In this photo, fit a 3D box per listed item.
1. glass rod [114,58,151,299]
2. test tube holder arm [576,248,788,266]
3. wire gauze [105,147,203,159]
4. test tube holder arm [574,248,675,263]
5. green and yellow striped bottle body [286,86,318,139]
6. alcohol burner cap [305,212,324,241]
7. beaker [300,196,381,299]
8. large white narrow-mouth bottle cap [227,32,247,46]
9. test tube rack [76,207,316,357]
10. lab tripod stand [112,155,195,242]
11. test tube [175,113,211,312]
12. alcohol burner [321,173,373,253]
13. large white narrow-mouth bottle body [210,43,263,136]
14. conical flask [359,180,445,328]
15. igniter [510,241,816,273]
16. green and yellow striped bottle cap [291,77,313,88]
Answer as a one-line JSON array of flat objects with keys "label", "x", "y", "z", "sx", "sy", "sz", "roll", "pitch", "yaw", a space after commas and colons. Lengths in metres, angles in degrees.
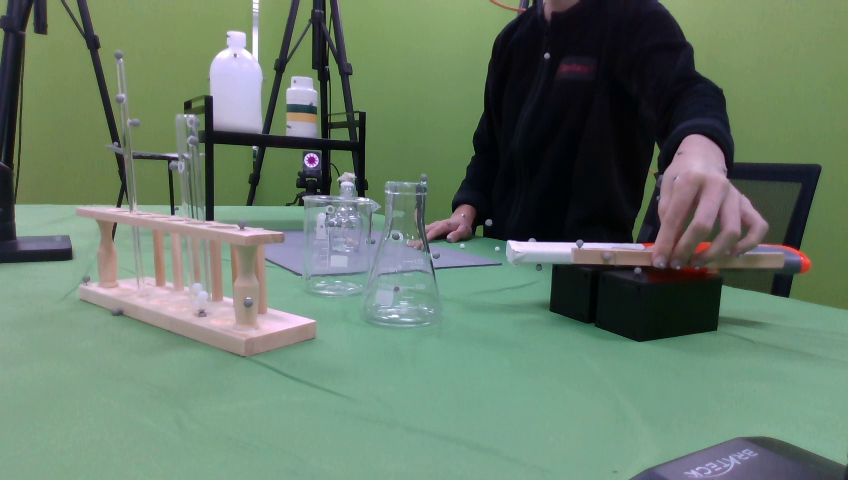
[{"label": "glass rod", "x": -0.236, "y": -0.044, "z": 0.492, "sx": 0.008, "sy": 0.199, "sz": 0.008, "roll": 1, "pitch": 15, "yaw": 0}, {"label": "test tube holder arm", "x": 0.221, "y": 0.015, "z": 0.521, "sx": 0.178, "sy": 0.015, "sz": 0.013, "roll": 0, "pitch": 7, "yaw": 3}, {"label": "wire gauze", "x": -0.408, "y": -0.131, "z": 0.929, "sx": 0.125, "sy": 0.011, "sz": 0.121, "roll": 2, "pitch": 6, "yaw": -11}, {"label": "test tube holder arm", "x": 0.176, "y": 0.014, "z": 0.529, "sx": 0.088, "sy": 0.015, "sz": 0.010, "roll": 0, "pitch": 7, "yaw": 4}, {"label": "green and yellow striped bottle body", "x": -0.251, "y": -0.270, "z": 1.245, "sx": 0.063, "sy": 0.119, "sz": 0.063, "roll": 2, "pitch": 7, "yaw": 0}, {"label": "alcohol burner cap", "x": -0.185, "y": -0.023, "z": 1.027, "sx": 0.034, "sy": 0.048, "sz": 0.034, "roll": 2, "pitch": 6, "yaw": 0}, {"label": "beaker", "x": -0.087, "y": 0.006, "z": 0.626, "sx": 0.084, "sy": 0.100, "sz": 0.074, "roll": 1, "pitch": 8, "yaw": -17}, {"label": "large white narrow-mouth bottle cap", "x": -0.364, "y": -0.391, "z": 1.180, "sx": 0.038, "sy": 0.024, "sz": 0.037, "roll": 3, "pitch": 8, "yaw": 0}, {"label": "test tube rack", "x": -0.196, "y": 0.023, "z": 0.500, "sx": 0.241, "sy": 0.085, "sz": 0.067, "roll": 8, "pitch": 9, "yaw": 36}, {"label": "lab tripod stand", "x": -0.405, "y": -0.064, "z": 0.931, "sx": 0.148, "sy": 0.131, "sz": 0.148, "roll": 1, "pitch": 6, "yaw": 0}, {"label": "test tube", "x": -0.174, "y": -0.020, "z": 0.458, "sx": 0.017, "sy": 0.150, "sz": 0.017, "roll": -3, "pitch": 5, "yaw": 1}, {"label": "alcohol burner", "x": -0.115, "y": -0.041, "z": 0.905, "sx": 0.078, "sy": 0.119, "sz": 0.078, "roll": 1, "pitch": 6, "yaw": 0}, {"label": "large white narrow-mouth bottle body", "x": -0.369, "y": -0.305, "z": 1.194, "sx": 0.102, "sy": 0.194, "sz": 0.102, "roll": 3, "pitch": 9, "yaw": 0}, {"label": "conical flask", "x": -0.017, "y": 0.010, "z": 0.522, "sx": 0.075, "sy": 0.122, "sz": 0.075, "roll": 2, "pitch": 7, "yaw": 0}, {"label": "igniter", "x": 0.220, "y": 0.015, "z": 0.566, "sx": 0.277, "sy": 0.025, "sz": 0.057, "roll": 1, "pitch": 16, "yaw": 0}, {"label": "green and yellow striped bottle cap", "x": -0.250, "y": -0.321, "z": 1.237, "sx": 0.045, "sy": 0.020, "sz": 0.045, "roll": 3, "pitch": 6, "yaw": 0}]
